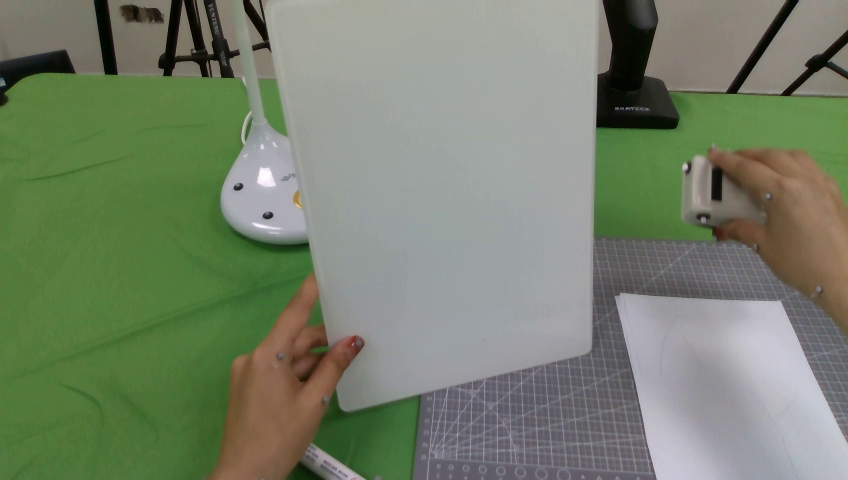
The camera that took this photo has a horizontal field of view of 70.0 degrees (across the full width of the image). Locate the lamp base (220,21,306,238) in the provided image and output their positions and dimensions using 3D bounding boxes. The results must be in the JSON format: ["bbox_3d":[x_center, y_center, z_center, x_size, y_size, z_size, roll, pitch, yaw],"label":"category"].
[{"bbox_3d":[-0.151,-0.120,0.621,0.160,0.182,0.177,-33,49,-31],"label":"lamp base"}]

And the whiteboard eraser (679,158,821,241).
[{"bbox_3d":[0.279,-0.034,0.525,0.112,0.042,0.055,10,73,1],"label":"whiteboard eraser"}]

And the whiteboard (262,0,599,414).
[{"bbox_3d":[0.009,-0.048,0.493,0.217,0.307,0.142,-11,24,-10],"label":"whiteboard"}]

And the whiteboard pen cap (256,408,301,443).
[{"bbox_3d":[-0.109,0.141,0.457,0.033,0.018,0.018,23,47,27],"label":"whiteboard pen cap"}]

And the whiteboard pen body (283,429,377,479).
[{"bbox_3d":[-0.061,0.163,0.432,0.140,0.017,0.017,23,47,24],"label":"whiteboard pen body"}]
